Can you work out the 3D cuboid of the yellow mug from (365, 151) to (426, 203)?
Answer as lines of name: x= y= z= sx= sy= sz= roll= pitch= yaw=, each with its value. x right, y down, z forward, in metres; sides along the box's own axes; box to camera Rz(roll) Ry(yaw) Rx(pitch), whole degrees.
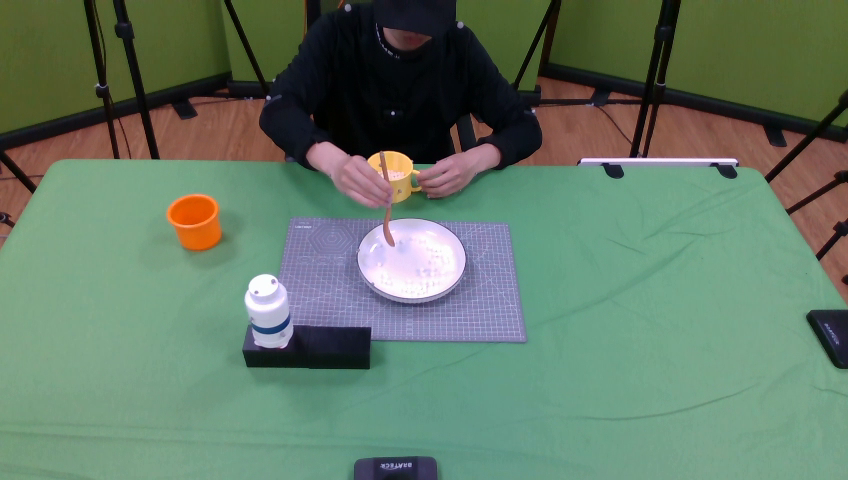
yellow mug: x=-0.061 y=-0.132 z=1.290 sx=0.131 sy=0.064 sz=0.099 roll=8 pitch=45 yaw=3

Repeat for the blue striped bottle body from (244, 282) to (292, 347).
blue striped bottle body: x=-0.241 y=0.108 z=0.937 sx=0.063 sy=0.121 sz=0.062 roll=2 pitch=46 yaw=-2

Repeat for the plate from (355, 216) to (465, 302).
plate: x=-0.027 y=0.039 z=1.144 sx=0.208 sy=0.039 sz=0.206 roll=2 pitch=46 yaw=-2

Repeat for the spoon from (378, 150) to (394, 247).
spoon: x=-0.067 y=-0.073 z=1.096 sx=0.021 sy=0.194 sz=0.041 roll=-2 pitch=30 yaw=-2

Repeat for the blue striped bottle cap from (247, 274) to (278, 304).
blue striped bottle cap: x=-0.239 y=0.072 z=0.900 sx=0.044 sy=0.021 sz=0.044 roll=4 pitch=46 yaw=-4
